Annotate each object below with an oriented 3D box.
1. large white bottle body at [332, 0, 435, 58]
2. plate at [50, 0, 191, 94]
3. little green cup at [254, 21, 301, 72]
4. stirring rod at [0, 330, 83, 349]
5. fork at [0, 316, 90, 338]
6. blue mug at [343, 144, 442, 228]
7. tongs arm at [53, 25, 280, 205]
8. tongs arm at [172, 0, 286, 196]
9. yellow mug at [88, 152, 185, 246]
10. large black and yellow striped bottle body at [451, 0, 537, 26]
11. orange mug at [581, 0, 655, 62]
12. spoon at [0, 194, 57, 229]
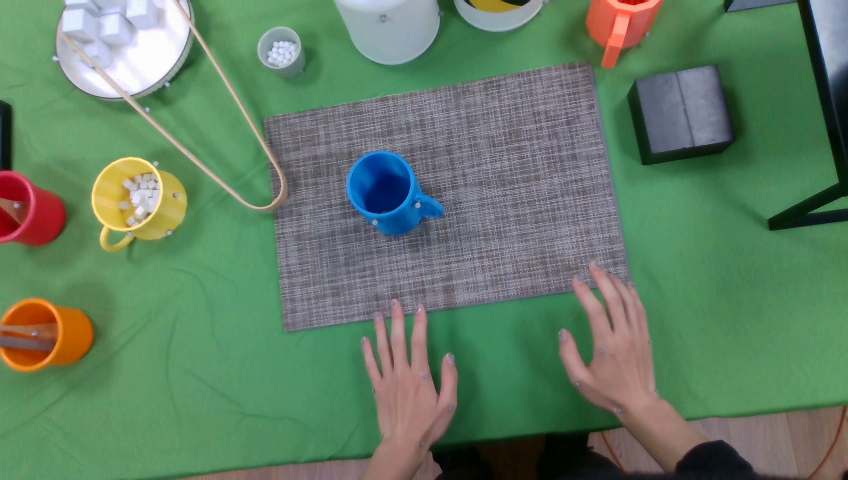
[{"bbox_3d":[-0.058,-0.329,0.763,0.130,0.185,0.130,-1,80,6],"label":"large white bottle body"},{"bbox_3d":[-0.432,-0.306,0.874,0.207,0.039,0.207,-1,82,6],"label":"plate"},{"bbox_3d":[-0.201,-0.267,0.843,0.061,0.039,0.061,-1,82,5],"label":"little green cup"},{"bbox_3d":[-0.529,0.121,0.764,0.006,0.177,0.014,-27,57,45],"label":"stirring rod"},{"bbox_3d":[-0.540,0.104,0.764,0.209,0.018,0.028,12,78,-36],"label":"fork"},{"bbox_3d":[-0.034,-0.060,0.756,0.116,0.106,0.082,17,83,9],"label":"blue mug"},{"bbox_3d":[-0.352,-0.175,0.826,0.384,0.026,0.051,44,84,3],"label":"tongs arm"},{"bbox_3d":[-0.288,-0.230,0.831,0.028,0.028,0.386,-32,86,-8],"label":"tongs arm"},{"bbox_3d":[-0.394,-0.049,0.816,0.099,0.064,0.130,30,87,9],"label":"yellow mug"},{"bbox_3d":[0.088,-0.370,0.755,0.130,0.185,0.130,-1,80,7],"label":"large black and yellow striped bottle body"},{"bbox_3d":[0.246,-0.297,0.770,0.083,0.101,0.126,14,79,9],"label":"orange mug"},{"bbox_3d":[-0.590,-0.068,0.800,0.195,0.021,0.041,31,82,-34],"label":"spoon"}]
